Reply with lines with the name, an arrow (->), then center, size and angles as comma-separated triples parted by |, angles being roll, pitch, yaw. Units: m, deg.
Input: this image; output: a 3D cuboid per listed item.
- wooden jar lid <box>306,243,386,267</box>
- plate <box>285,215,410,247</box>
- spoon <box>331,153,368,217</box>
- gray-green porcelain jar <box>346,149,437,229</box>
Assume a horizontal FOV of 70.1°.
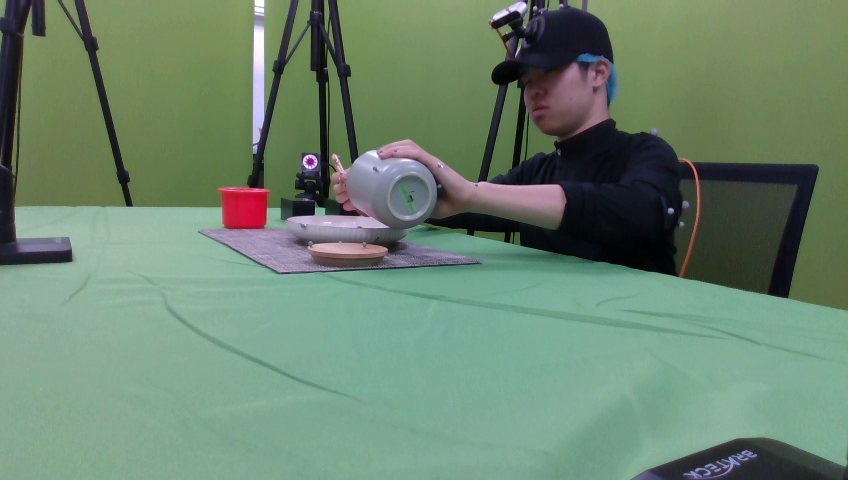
wooden jar lid -> -0.105, 0.020, 0.816 | 0.108, 0.020, 0.108 | 1, 7, 0
plate -> -0.127, -0.015, 1.012 | 0.208, 0.039, 0.207 | 3, 7, 0
spoon -> -0.131, -0.099, 1.041 | 0.042, 0.021, 0.193 | 0, 33, -30
gray-green porcelain jar -> -0.048, -0.077, 0.908 | 0.106, 0.106, 0.126 | -1, 15, -27
